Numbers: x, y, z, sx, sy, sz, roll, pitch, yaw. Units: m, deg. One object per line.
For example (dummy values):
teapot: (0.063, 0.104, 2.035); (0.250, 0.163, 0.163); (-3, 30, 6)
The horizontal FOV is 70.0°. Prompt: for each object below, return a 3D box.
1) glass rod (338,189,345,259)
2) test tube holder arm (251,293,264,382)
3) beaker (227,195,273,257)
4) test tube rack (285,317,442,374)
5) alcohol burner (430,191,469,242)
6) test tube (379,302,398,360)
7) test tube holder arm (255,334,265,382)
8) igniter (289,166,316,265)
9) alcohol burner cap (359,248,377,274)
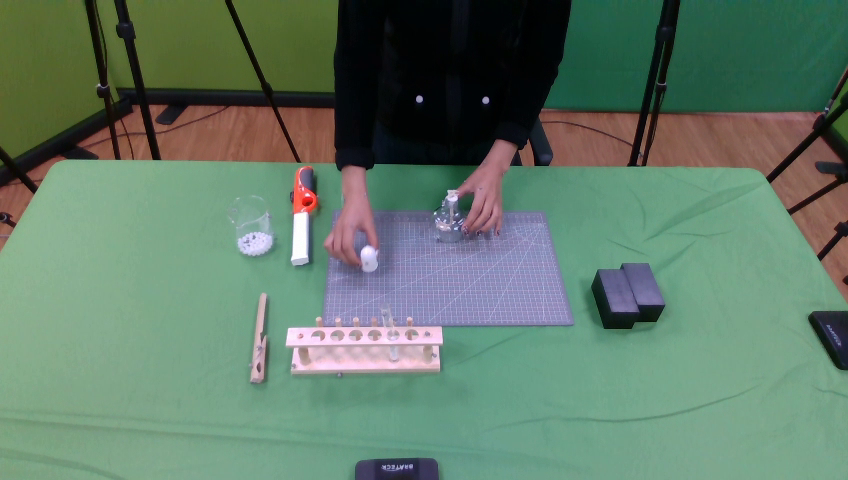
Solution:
glass rod: (-0.166, -0.036, 1.227); (0.008, 0.008, 0.198); (0, 46, -3)
test tube holder arm: (-0.281, 0.159, 1.025); (0.013, 0.015, 0.177); (23, 37, -32)
beaker: (-0.326, -0.022, 1.142); (0.074, 0.101, 0.083); (10, 47, 6)
test tube rack: (-0.095, 0.166, 0.988); (0.242, 0.085, 0.066); (0, 46, -4)
alcohol burner: (0.051, -0.053, 1.185); (0.078, 0.119, 0.077); (2, 48, -2)
test tube: (-0.054, 0.145, 0.943); (0.017, 0.151, 0.017); (-2, 49, 3)
test tube holder arm: (-0.269, 0.193, 0.997); (0.010, 0.015, 0.087); (23, 36, -32)
igniter: (-0.247, -0.058, 1.233); (0.057, 0.025, 0.274); (-10, 47, 0)
alcohol burner cap: (-0.103, 0.036, 1.102); (0.034, 0.048, 0.033); (0, 51, 1)
